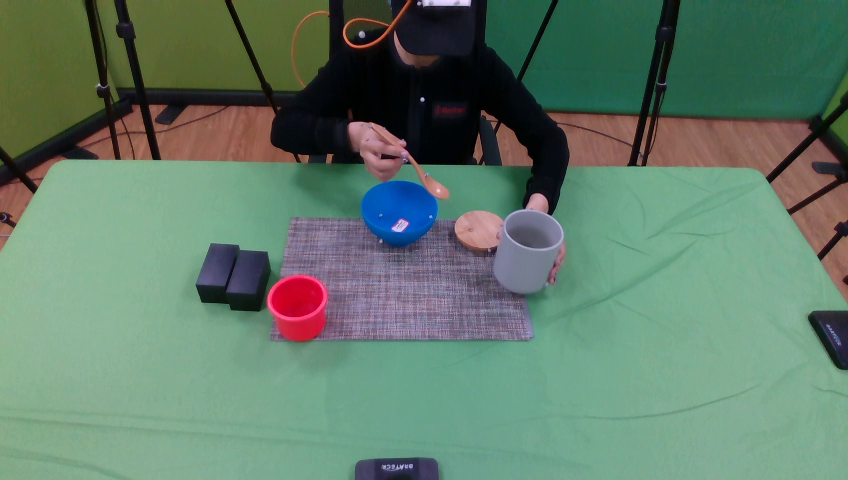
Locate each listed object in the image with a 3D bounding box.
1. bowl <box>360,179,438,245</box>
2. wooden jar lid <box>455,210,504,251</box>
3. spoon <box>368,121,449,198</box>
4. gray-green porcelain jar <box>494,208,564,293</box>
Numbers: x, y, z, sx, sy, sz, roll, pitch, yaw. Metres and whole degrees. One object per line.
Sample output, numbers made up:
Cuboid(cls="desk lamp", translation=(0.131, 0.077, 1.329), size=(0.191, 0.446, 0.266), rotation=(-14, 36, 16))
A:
Cuboid(cls="bowl", translation=(-0.049, -0.042, 1.190), size=(0.151, 0.077, 0.150), rotation=(2, 46, -2))
Cuboid(cls="wooden jar lid", translation=(0.115, -0.018, 1.220), size=(0.108, 0.021, 0.107), rotation=(3, 47, -3))
Cuboid(cls="spoon", translation=(-0.025, -0.139, 1.051), size=(0.021, 0.194, 0.041), rotation=(-27, 30, 33))
Cuboid(cls="gray-green porcelain jar", translation=(0.182, 0.024, 1.077), size=(0.106, 0.127, 0.105), rotation=(4, 45, -3))
